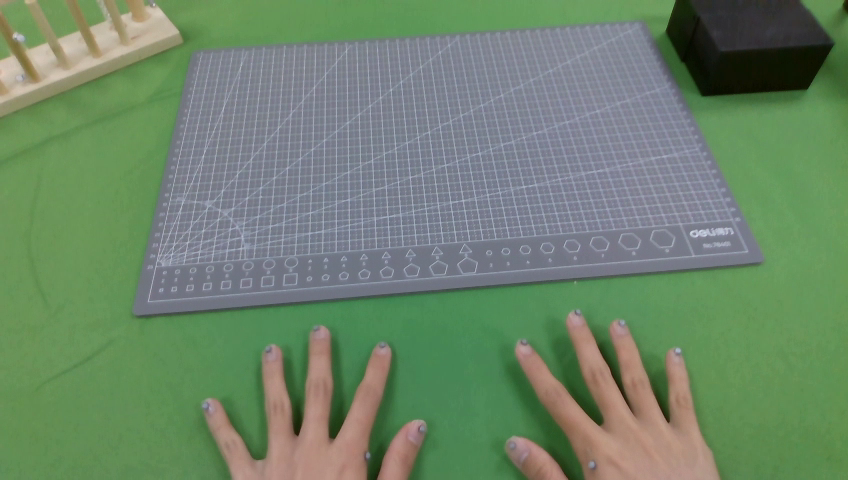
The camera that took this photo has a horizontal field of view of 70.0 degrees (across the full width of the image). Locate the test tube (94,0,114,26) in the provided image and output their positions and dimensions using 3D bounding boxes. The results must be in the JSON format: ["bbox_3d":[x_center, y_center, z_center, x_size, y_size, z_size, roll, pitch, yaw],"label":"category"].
[{"bbox_3d":[-0.312,-0.262,0.542,0.017,0.152,0.017,-3,50,4],"label":"test tube"}]

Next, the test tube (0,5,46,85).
[{"bbox_3d":[-0.359,-0.193,0.499,0.017,0.152,0.017,-1,51,2],"label":"test tube"}]

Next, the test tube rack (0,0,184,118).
[{"bbox_3d":[-0.357,-0.183,0.547,0.242,0.086,0.066,-31,59,-20],"label":"test tube rack"}]
